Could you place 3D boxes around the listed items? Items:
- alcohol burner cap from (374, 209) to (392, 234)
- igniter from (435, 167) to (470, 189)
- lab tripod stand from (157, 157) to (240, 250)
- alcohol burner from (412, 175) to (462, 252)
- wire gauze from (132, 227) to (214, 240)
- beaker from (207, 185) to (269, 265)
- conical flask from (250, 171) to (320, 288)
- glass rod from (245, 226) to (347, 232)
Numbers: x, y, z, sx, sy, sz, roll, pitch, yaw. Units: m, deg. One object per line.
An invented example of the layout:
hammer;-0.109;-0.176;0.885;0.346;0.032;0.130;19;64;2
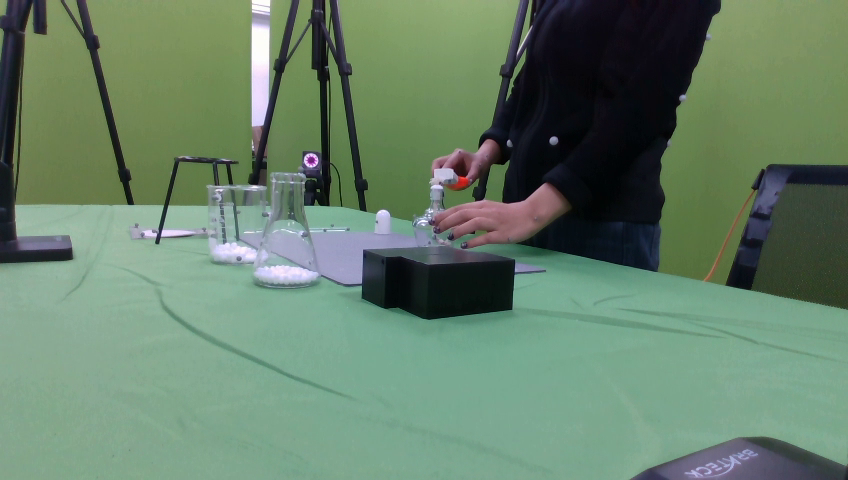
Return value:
alcohol burner cap;-0.078;-0.036;1.148;0.034;0.048;0.034;2;7;0
igniter;0.053;-0.111;1.096;0.057;0.025;0.277;0;1;8
lab tripod stand;-0.322;-0.057;0.905;0.148;0.131;0.148;4;7;0
alcohol burner;0.020;-0.041;0.948;0.078;0.119;0.078;0;7;0
wire gauze;-0.425;-0.013;1.018;0.122;0.011;0.124;-1;6;-28
beaker;-0.244;-0.021;0.784;0.083;0.100;0.074;6;8;30
conical flask;-0.150;-0.013;0.658;0.075;0.122;0.075;2;7;0
glass rod;-0.236;-0.021;1.140;0.201;0.008;0.008;-3;8;-33
